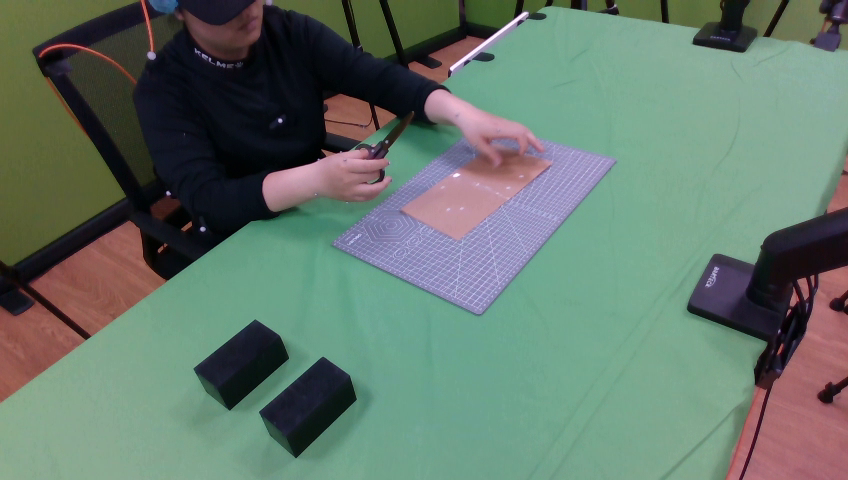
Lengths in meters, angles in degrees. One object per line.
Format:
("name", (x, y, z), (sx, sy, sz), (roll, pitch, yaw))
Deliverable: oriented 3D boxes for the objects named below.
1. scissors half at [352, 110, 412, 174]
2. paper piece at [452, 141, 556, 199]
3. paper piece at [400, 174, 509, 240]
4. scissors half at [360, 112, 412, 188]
("scissors half", (-0.071, -0.160, 0.983), (0.013, 0.174, 0.040), (-27, 85, -46))
("paper piece", (0.147, -0.132, 1.110), (0.135, 0.009, 0.138), (32, 54, 33))
("paper piece", (0.053, -0.062, 1.042), (0.134, 0.004, 0.136), (30, 53, 34))
("scissors half", (-0.060, -0.144, 0.979), (0.013, 0.175, 0.040), (-20, 65, -44))
